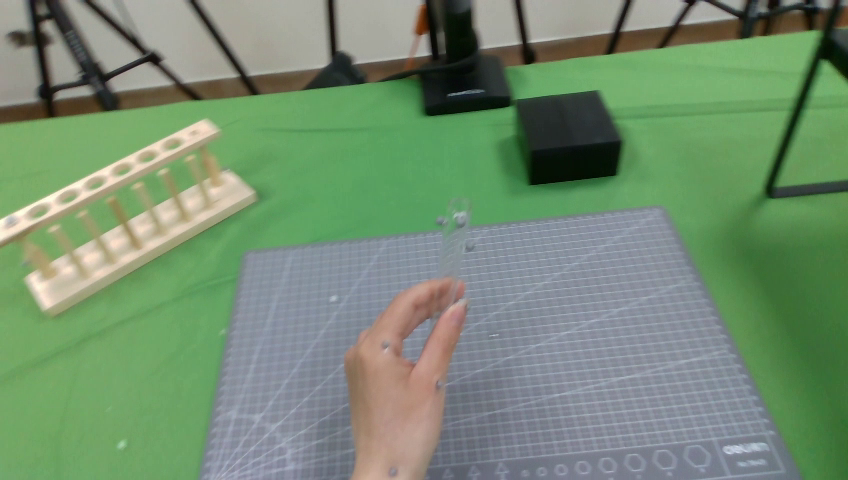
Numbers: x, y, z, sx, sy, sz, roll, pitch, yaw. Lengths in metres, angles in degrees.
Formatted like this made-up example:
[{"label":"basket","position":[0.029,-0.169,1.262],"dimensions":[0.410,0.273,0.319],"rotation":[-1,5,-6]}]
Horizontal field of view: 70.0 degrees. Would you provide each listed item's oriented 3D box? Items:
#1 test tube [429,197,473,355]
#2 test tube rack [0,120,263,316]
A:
[{"label":"test tube","position":[0.017,0.032,0.422],"dimensions":[0.017,0.151,0.017],"rotation":[3,43,-3]},{"label":"test tube rack","position":[-0.304,-0.029,0.648],"dimensions":[0.242,0.086,0.066],"rotation":[-34,51,-24]}]
